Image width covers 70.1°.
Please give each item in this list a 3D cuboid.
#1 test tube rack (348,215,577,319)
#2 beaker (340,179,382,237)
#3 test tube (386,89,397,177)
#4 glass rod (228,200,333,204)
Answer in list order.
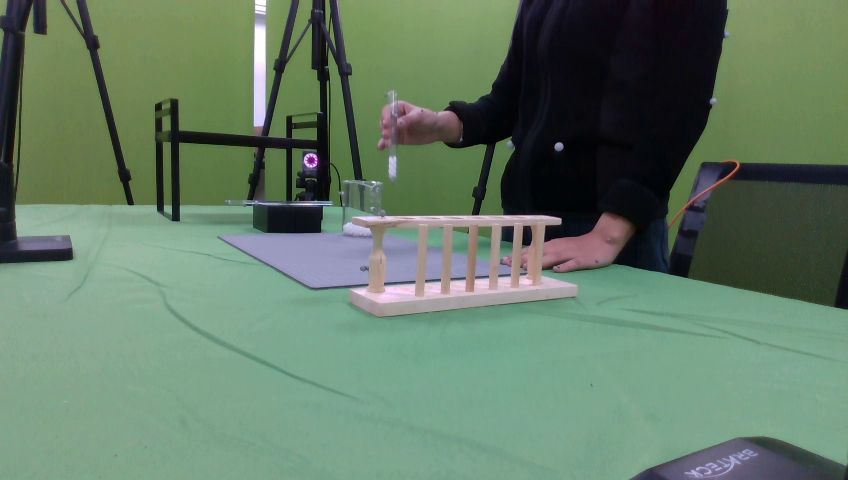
[{"bbox_3d":[0.048,0.021,0.619,0.244,0.085,0.066,-2,9,-31],"label":"test tube rack"},{"bbox_3d":[-0.113,-0.058,1.094,0.074,0.100,0.083,-2,10,-29],"label":"beaker"},{"bbox_3d":[-0.052,-0.174,0.979,0.017,0.150,0.017,0,-12,0],"label":"test tube"},{"bbox_3d":[-0.268,-0.071,1.143,0.201,0.008,0.008,-1,8,-29],"label":"glass rod"}]
